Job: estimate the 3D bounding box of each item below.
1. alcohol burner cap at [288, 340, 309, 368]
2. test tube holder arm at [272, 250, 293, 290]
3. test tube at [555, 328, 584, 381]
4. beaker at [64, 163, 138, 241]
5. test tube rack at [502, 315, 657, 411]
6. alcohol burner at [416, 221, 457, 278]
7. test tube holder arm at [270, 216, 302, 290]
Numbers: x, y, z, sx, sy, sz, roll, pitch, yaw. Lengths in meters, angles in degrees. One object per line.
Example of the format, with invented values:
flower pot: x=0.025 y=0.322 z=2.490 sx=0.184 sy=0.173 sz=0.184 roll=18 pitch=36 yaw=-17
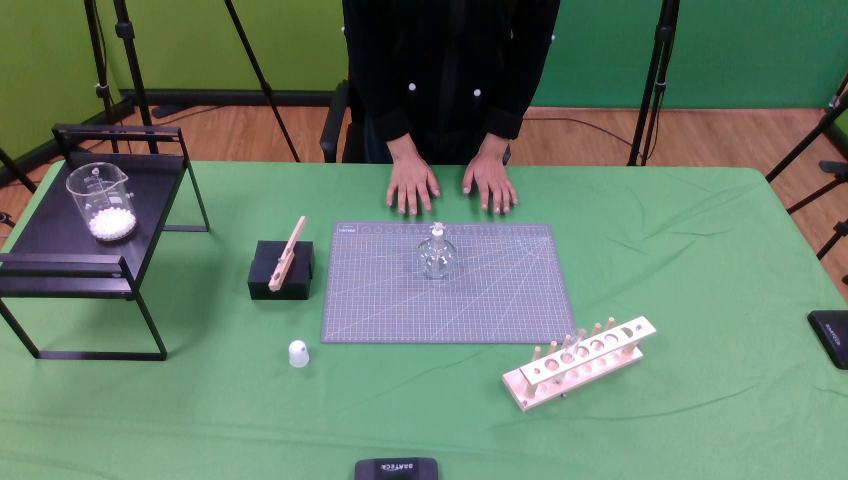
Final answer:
alcohol burner cap: x=-0.207 y=0.183 z=0.991 sx=0.034 sy=0.048 sz=0.033 roll=3 pitch=47 yaw=-3
test tube holder arm: x=-0.248 y=0.051 z=1.063 sx=0.010 sy=0.015 sz=0.087 roll=8 pitch=45 yaw=3
test tube: x=0.221 y=0.178 z=0.926 sx=0.017 sy=0.151 sz=0.017 roll=0 pitch=51 yaw=0
beaker: x=-0.477 y=-0.055 z=0.910 sx=0.084 sy=0.101 sz=0.073 roll=-9 pitch=48 yaw=-13
test tube rack: x=0.253 y=0.186 z=0.988 sx=0.242 sy=0.085 sz=0.066 roll=-18 pitch=50 yaw=-20
alcohol burner: x=0.024 y=0.013 z=1.116 sx=0.078 sy=0.120 sz=0.077 roll=1 pitch=45 yaw=-1
test tube holder arm: x=-0.248 y=0.019 z=1.095 sx=0.013 sy=0.015 sz=0.177 roll=7 pitch=45 yaw=1
